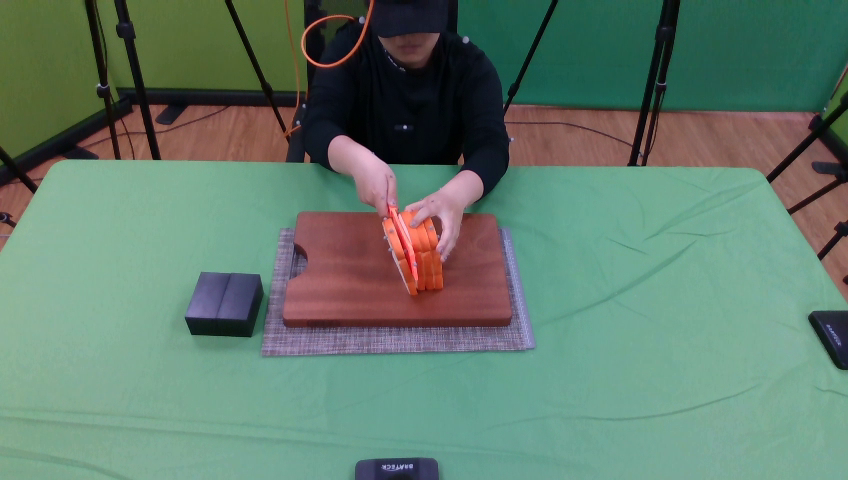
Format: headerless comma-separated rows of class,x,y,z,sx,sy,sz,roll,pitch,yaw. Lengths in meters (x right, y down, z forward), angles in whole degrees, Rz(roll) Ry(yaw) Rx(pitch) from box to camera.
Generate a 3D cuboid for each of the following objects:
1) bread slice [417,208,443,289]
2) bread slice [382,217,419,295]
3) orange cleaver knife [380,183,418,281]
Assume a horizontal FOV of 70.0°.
bread slice,0.010,0.012,1.075,0.018,0.135,0.106,-14,50,-8
bread slice,-0.045,0.023,1.062,0.019,0.132,0.104,-22,48,-3
orange cleaver knife,-0.045,-0.018,1.074,0.012,0.077,0.210,-15,47,-10
